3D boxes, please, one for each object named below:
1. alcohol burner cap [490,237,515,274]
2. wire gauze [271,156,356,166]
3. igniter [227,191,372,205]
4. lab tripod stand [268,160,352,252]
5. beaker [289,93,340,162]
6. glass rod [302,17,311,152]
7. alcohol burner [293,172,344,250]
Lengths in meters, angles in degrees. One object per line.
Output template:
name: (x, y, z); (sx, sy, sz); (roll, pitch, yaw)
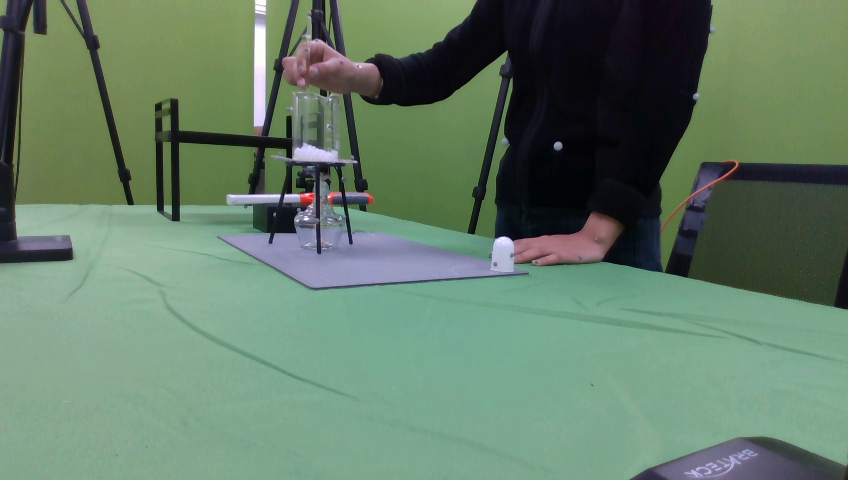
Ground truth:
alcohol burner cap: (0.104, 0.020, 0.793); (0.034, 0.048, 0.034); (2, 6, 0)
wire gauze: (-0.166, -0.120, 0.916); (0.125, 0.011, 0.121); (-2, 6, -8)
igniter: (-0.232, -0.080, 1.161); (0.278, 0.025, 0.057); (-3, 12, -28)
lab tripod stand: (-0.171, -0.055, 0.921); (0.148, 0.131, 0.148); (1, 8, 0)
beaker: (-0.162, -0.167, 0.908); (0.074, 0.100, 0.083); (-4, 10, -31)
glass rod: (-0.178, -0.234, 0.915); (0.008, 0.199, 0.008); (4, 8, 0)
alcohol burner: (-0.159, -0.044, 0.921); (0.078, 0.119, 0.078); (5, 7, 0)
